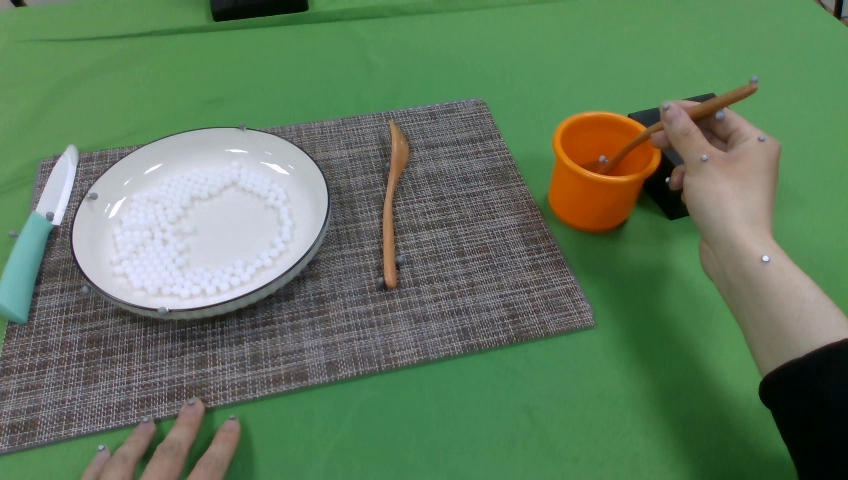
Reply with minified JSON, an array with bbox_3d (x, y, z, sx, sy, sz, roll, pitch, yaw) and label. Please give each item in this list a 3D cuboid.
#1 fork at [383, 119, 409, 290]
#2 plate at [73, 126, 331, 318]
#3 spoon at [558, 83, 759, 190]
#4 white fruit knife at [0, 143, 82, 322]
[{"bbox_3d":[-0.028,-0.040,0.556,0.018,0.028,0.205,-18,48,24],"label":"fork"},{"bbox_3d":[-0.182,-0.018,0.519,0.209,0.038,0.207,1,50,-1],"label":"plate"},{"bbox_3d":[0.184,-0.083,0.506,0.022,0.193,0.041,46,56,-8],"label":"spoon"},{"bbox_3d":[-0.331,-0.017,0.529,0.027,0.016,0.205,16,43,-26],"label":"white fruit knife"}]
